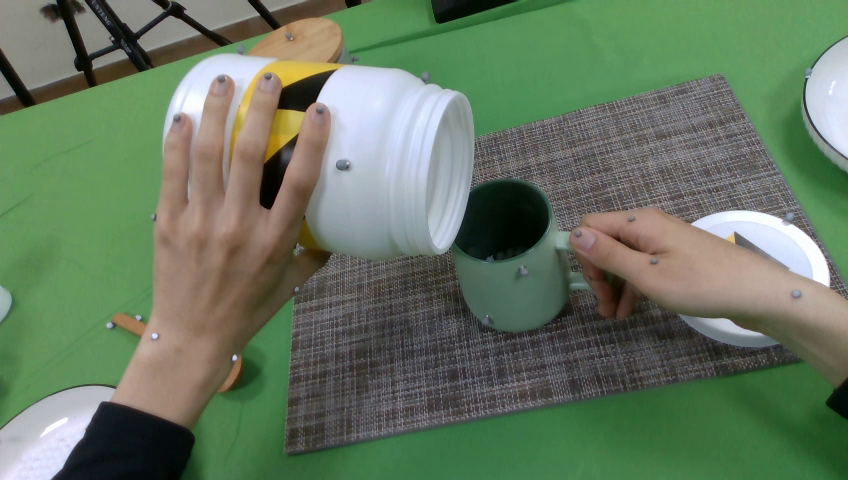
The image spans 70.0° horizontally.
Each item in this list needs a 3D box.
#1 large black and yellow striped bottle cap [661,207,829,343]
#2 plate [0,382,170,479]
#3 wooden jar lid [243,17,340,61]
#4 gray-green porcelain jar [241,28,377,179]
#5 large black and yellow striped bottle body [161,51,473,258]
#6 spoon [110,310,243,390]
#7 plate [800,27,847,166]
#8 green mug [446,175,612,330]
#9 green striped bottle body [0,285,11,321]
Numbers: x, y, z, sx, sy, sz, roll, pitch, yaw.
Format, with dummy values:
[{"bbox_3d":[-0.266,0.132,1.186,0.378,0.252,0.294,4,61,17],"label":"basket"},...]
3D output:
[{"bbox_3d":[0.245,0.024,0.469,0.115,0.019,0.114,-10,53,13],"label":"large black and yellow striped bottle cap"},{"bbox_3d":[-0.300,0.221,0.498,0.209,0.038,0.207,-9,54,12],"label":"plate"},{"bbox_3d":[-0.129,-0.174,0.583,0.108,0.021,0.107,-11,52,15],"label":"wooden jar lid"},{"bbox_3d":[-0.112,-0.135,0.630,0.105,0.128,0.105,-10,49,12],"label":"gray-green porcelain jar"},{"bbox_3d":[-0.068,-0.059,0.426,0.183,0.132,0.130,10,59,16],"label":"large black and yellow striped bottle body"},{"bbox_3d":[-0.240,0.096,0.577,0.192,0.022,0.041,16,78,26],"label":"spoon"},{"bbox_3d":[0.426,-0.112,0.498,0.207,0.039,0.205,-9,54,12],"label":"plate"},{"bbox_3d":[0.082,0.013,0.474,0.125,0.106,0.092,3,57,21],"label":"green mug"},{"bbox_3d":[-0.507,0.048,0.635,0.063,0.120,0.062,-9,54,13],"label":"green striped bottle body"}]
